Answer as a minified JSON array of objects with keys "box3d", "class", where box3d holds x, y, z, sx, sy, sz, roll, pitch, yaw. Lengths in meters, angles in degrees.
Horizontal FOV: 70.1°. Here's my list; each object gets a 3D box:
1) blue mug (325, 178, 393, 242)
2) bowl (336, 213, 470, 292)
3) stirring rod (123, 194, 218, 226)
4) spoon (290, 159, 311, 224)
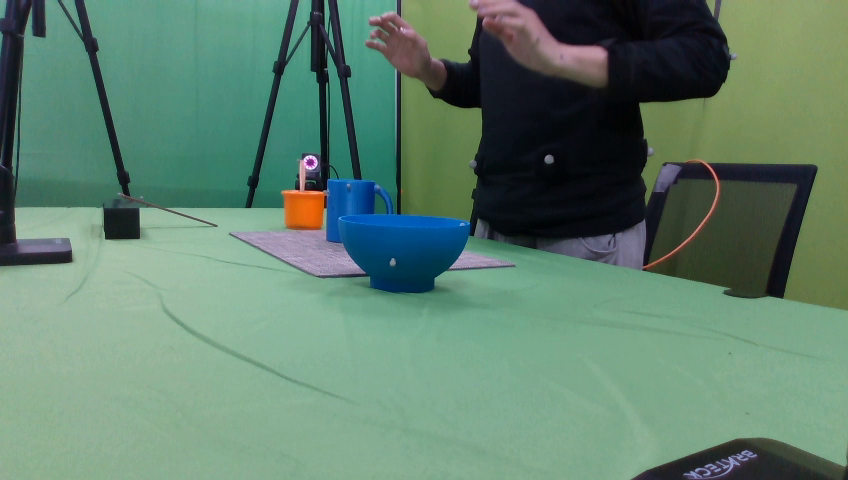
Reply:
[{"box3d":[-0.111,-0.052,1.034,0.116,0.106,0.082,3,7,7],"class":"blue mug"},{"box3d":[-0.025,0.013,0.685,0.151,0.077,0.151,2,7,0],"class":"bowl"},{"box3d":[-0.480,-0.056,1.153,0.177,0.006,0.014,20,-5,-29],"class":"stirring rod"},{"box3d":[-0.256,-0.104,1.265,0.042,0.193,0.021,0,-37,-9],"class":"spoon"}]
